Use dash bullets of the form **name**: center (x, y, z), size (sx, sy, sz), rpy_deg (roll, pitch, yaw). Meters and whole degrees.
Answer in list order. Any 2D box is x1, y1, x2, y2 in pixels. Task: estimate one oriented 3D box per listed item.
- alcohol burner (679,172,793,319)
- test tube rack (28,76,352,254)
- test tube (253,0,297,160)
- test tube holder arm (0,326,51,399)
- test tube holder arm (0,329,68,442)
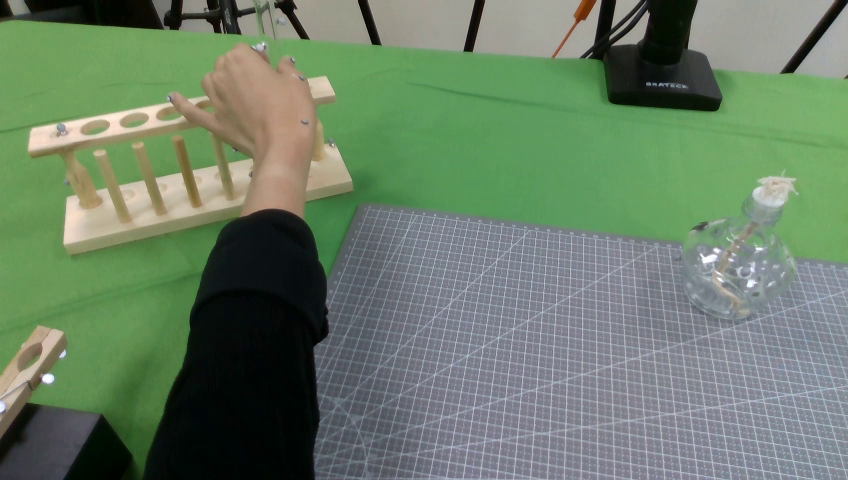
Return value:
- **alcohol burner**: center (0.229, 0.001, 0.434), size (0.078, 0.120, 0.077), rpy_deg (1, 43, -1)
- **test tube rack**: center (-0.191, -0.068, 0.525), size (0.243, 0.086, 0.066), rpy_deg (-15, 46, -15)
- **test tube**: center (-0.127, -0.134, 0.523), size (0.017, 0.151, 0.017), rpy_deg (0, 41, 0)
- **test tube holder arm**: center (-0.239, 0.088, 0.344), size (0.010, 0.015, 0.087), rpy_deg (11, 46, 1)
- **test tube holder arm**: center (-0.239, 0.120, 0.313), size (0.013, 0.015, 0.177), rpy_deg (10, 46, 1)
